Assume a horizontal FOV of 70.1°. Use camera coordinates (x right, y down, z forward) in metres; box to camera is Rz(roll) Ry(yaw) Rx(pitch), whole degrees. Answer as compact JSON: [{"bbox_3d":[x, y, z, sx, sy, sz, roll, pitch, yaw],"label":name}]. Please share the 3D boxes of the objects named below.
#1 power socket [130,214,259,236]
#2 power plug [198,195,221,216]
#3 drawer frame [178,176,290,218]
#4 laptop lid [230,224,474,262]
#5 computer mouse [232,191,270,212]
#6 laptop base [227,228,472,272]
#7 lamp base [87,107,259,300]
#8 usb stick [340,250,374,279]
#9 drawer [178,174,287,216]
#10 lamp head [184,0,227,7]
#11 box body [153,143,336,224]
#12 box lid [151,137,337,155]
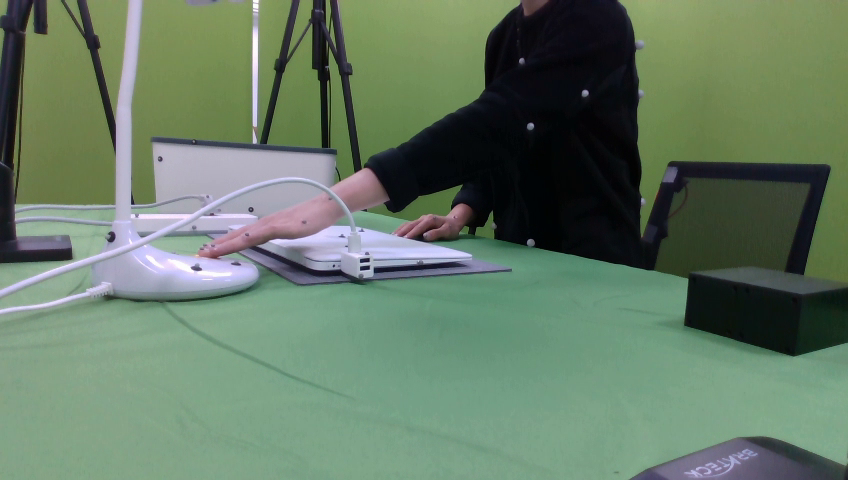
[{"bbox_3d":[-0.397,-0.028,1.048,0.228,0.032,0.072,-3,7,-35],"label":"power socket"},{"bbox_3d":[-0.386,-0.055,1.088,0.035,0.052,0.072,-1,6,-24],"label":"power plug"},{"bbox_3d":[-0.409,-0.100,1.340,0.214,0.082,0.201,-4,7,-10],"label":"drawer frame"},{"bbox_3d":[-0.121,0.000,0.888,0.243,0.013,0.355,1,7,-33],"label":"laptop lid"},{"bbox_3d":[-0.382,-0.086,1.343,0.063,0.041,0.117,9,10,-4],"label":"computer mouse"},{"bbox_3d":[-0.124,0.012,0.889,0.237,0.023,0.352,1,7,-35],"label":"laptop base"},{"bbox_3d":[-0.254,-0.039,0.603,0.160,0.180,0.179,5,10,18],"label":"lamp base"},{"bbox_3d":[-0.079,0.026,0.686,0.021,0.027,0.059,-8,9,-31],"label":"usb stick"},{"bbox_3d":[-0.414,-0.104,1.342,0.212,0.073,0.194,5,7,-11],"label":"drawer"},{"bbox_3d":[-0.229,-0.320,0.627,0.112,0.112,0.123,6,-36,26],"label":"lamp head"},{"bbox_3d":[-0.380,-0.130,1.343,0.365,0.160,0.253,1,7,-9],"label":"box body"},{"bbox_3d":[-0.379,-0.203,1.334,0.372,0.015,0.262,2,7,-9],"label":"box lid"}]
